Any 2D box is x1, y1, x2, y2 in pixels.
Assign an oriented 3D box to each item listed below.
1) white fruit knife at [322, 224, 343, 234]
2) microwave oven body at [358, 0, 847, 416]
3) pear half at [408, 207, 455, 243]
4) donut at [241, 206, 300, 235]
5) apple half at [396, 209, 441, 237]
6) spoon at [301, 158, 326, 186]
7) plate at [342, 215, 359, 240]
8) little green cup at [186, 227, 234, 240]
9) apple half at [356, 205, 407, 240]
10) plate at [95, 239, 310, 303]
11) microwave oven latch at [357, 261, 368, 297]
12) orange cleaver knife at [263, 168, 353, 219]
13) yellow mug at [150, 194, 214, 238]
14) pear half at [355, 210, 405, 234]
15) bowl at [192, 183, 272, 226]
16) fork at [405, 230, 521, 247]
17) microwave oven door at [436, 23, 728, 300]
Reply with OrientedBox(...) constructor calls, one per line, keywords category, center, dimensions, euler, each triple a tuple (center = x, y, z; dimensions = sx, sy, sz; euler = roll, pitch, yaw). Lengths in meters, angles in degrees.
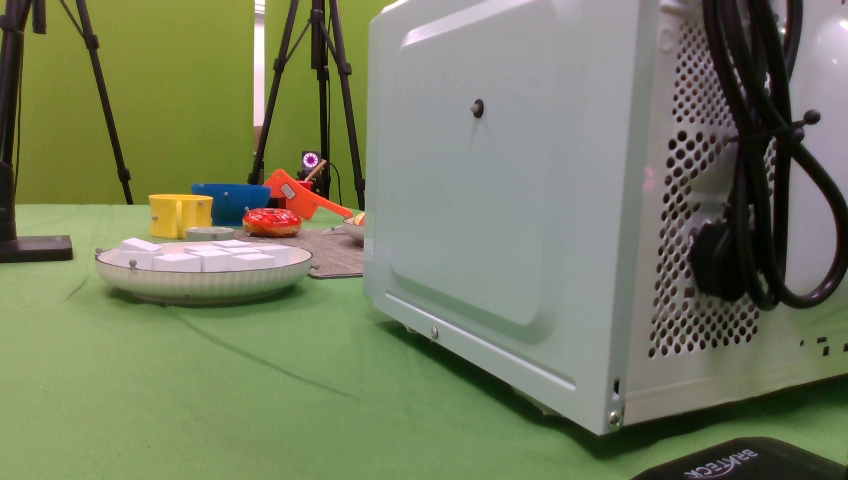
OrientedBox(category="white fruit knife", center=(-0.103, -0.038, 1.143), dimensions=(0.208, 0.027, 0.016), euler=(-17, 62, -37))
OrientedBox(category="microwave oven body", center=(0.211, -0.047, 0.474), dimensions=(0.444, 0.260, 0.324), euler=(-1, 7, -28))
OrientedBox(category="pear half", center=(0.018, -0.026, 0.999), dimensions=(0.076, 0.056, 0.110), euler=(9, 7, 19))
OrientedBox(category="donut", center=(-0.263, -0.032, 1.039), dimensions=(0.099, 0.048, 0.099), euler=(4, 9, 0))
OrientedBox(category="apple half", center=(-0.008, -0.036, 1.052), dimensions=(0.081, 0.033, 0.081), euler=(12, 26, -6))
OrientedBox(category="spoon", center=(-0.320, -0.160, 1.646), dimensions=(0.041, 0.022, 0.194), euler=(8, 53, 33))
OrientedBox(category="plate", center=(-0.033, -0.014, 1.006), dimensions=(0.209, 0.038, 0.209), euler=(2, 8, 0))
OrientedBox(category="little green cup", center=(-0.284, 0.005, 0.805), dimensions=(0.061, 0.038, 0.061), euler=(2, 8, 0))
OrientedBox(category="apple half", center=(-0.065, -0.029, 0.970), dimensions=(0.081, 0.053, 0.074), euler=(3, 8, -26))
OrientedBox(category="plate", center=(-0.224, 0.031, 0.629), dimensions=(0.208, 0.039, 0.207), euler=(2, 7, 0))
OrientedBox(category="microwave oven latch", center=(-0.019, 0.033, 0.531), dimensions=(0.079, 0.029, 0.030), euler=(-1, 7, -27))
OrientedBox(category="orange cleaver knife", center=(-0.262, -0.088, 1.352), dimensions=(0.211, 0.077, 0.012), euler=(27, 13, 0))
OrientedBox(category="yellow mug", center=(-0.401, -0.040, 1.003), dimensions=(0.100, 0.064, 0.130), euler=(-1, 9, -20))
OrientedBox(category="pear half", center=(-0.075, -0.035, 1.045), dimensions=(0.088, 0.031, 0.070), euler=(4, 27, -8))
OrientedBox(category="bowl", center=(-0.381, -0.070, 1.202), dimensions=(0.151, 0.077, 0.151), euler=(3, 7, 0))
OrientedBox(category="fork", center=(0.064, -0.005, 0.900), dimensions=(0.208, 0.018, 0.028), euler=(-4, 30, -31))
OrientedBox(category="microwave oven door", center=(0.180, -0.072, 0.621), dimensions=(0.358, 0.243, 0.039), euler=(-2, 9, -29))
